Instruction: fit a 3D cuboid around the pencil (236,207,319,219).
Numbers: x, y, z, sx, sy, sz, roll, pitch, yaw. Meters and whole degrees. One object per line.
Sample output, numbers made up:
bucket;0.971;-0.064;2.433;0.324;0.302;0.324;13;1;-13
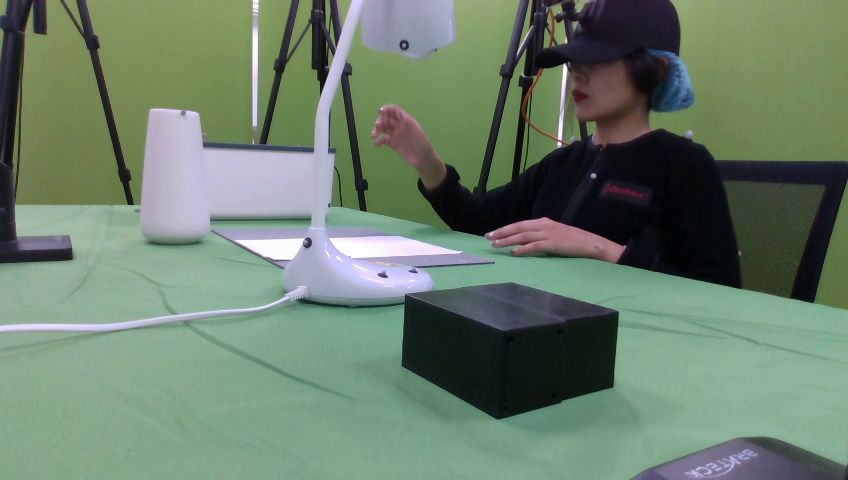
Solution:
pencil;-0.347;-0.063;1.437;0.194;0.012;0.012;7;7;-6

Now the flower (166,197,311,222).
flower;-0.397;-0.058;1.355;0.044;0.038;0.364;-37;-25;32

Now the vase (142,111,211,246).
vase;-0.378;-0.093;0.920;0.098;0.200;0.098;2;9;0

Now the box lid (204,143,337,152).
box lid;-0.407;-0.209;1.370;0.373;0.015;0.262;-3;9;-30

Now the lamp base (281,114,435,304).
lamp base;-0.071;-0.035;0.614;0.160;0.180;0.180;6;10;27

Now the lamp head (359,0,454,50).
lamp head;-0.024;-0.283;0.674;0.112;0.123;0.112;-3;38;3

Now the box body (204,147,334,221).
box body;-0.413;-0.134;1.379;0.366;0.160;0.253;-2;9;-31
